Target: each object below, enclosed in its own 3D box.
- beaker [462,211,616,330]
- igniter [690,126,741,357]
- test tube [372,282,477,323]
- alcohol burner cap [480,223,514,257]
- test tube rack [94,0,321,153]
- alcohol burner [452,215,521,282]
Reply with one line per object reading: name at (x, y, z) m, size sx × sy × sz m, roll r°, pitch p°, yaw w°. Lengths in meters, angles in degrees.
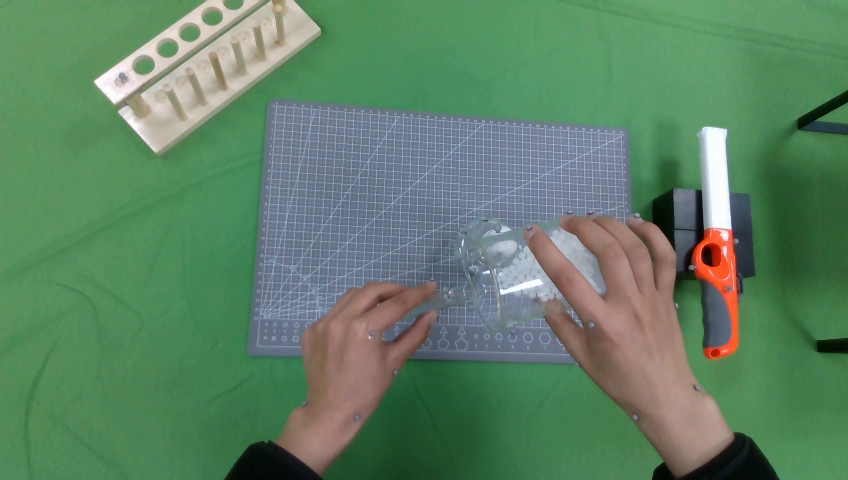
beaker at (0.088, 0.022, 0.468) m, size 0.100 × 0.084 × 0.073 m, roll -13°, pitch 80°, yaw -11°
igniter at (0.337, -0.002, 0.704) m, size 0.057 × 0.025 × 0.275 m, roll 6°, pitch 76°, yaw -5°
test tube at (-0.005, 0.059, 0.553) m, size 0.017 × 0.150 × 0.017 m, roll 12°, pitch 69°, yaw -34°
alcohol burner cap at (0.079, -0.001, 0.628) m, size 0.034 × 0.048 × 0.033 m, roll 1°, pitch 80°, yaw -4°
test tube rack at (-0.229, -0.209, 0.676) m, size 0.242 × 0.085 × 0.066 m, roll -42°, pitch 86°, yaw -14°
alcohol burner at (0.073, 0.006, 0.663) m, size 0.078 × 0.119 × 0.077 m, roll 2°, pitch 76°, yaw -9°
